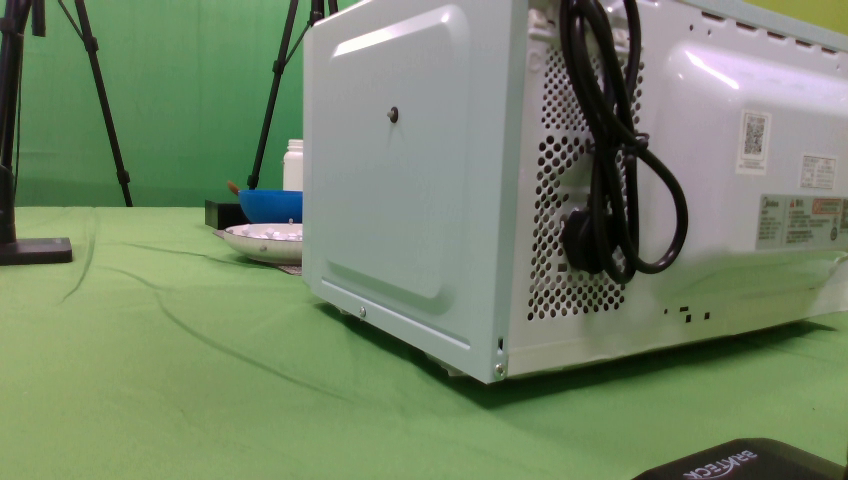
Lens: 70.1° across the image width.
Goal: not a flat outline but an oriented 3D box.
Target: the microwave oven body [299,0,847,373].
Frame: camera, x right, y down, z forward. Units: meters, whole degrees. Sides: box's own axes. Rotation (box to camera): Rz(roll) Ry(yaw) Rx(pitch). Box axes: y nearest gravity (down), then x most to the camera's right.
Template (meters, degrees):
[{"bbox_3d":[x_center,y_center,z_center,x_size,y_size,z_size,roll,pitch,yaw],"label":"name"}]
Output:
[{"bbox_3d":[0.151,-0.055,0.542,0.444,0.260,0.324,-2,7,-33],"label":"microwave oven body"}]

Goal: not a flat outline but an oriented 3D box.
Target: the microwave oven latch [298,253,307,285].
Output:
[{"bbox_3d":[-0.081,0.027,0.582,0.079,0.029,0.030,-1,7,-32],"label":"microwave oven latch"}]

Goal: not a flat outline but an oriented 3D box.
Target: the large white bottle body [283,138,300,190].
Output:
[{"bbox_3d":[-0.265,-0.144,1.423,0.131,0.184,0.130,2,7,0],"label":"large white bottle body"}]

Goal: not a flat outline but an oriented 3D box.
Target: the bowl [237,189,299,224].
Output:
[{"bbox_3d":[-0.247,-0.046,1.055,0.151,0.077,0.151,3,8,0],"label":"bowl"}]

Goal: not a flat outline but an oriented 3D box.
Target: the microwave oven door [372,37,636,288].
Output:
[{"bbox_3d":[0.110,-0.080,0.686,0.358,0.243,0.039,-2,9,-33],"label":"microwave oven door"}]

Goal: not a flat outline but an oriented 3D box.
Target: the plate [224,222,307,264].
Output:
[{"bbox_3d":[-0.171,0.004,0.849,0.209,0.038,0.209,2,7,0],"label":"plate"}]

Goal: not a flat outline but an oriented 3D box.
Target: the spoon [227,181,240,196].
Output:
[{"bbox_3d":[-0.315,-0.074,1.235,0.195,0.021,0.041,24,-10,-37],"label":"spoon"}]

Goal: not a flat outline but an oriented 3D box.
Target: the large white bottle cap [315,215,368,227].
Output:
[{"bbox_3d":[-0.177,-0.041,1.309,0.115,0.018,0.115,2,6,0],"label":"large white bottle cap"}]
